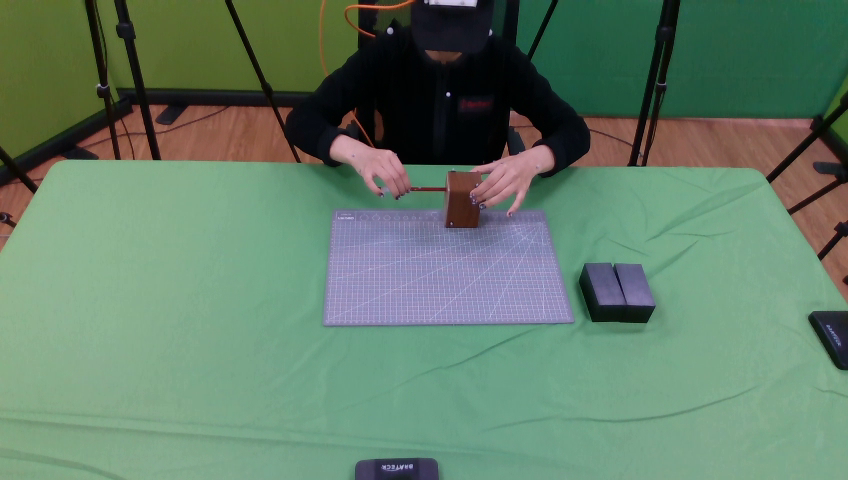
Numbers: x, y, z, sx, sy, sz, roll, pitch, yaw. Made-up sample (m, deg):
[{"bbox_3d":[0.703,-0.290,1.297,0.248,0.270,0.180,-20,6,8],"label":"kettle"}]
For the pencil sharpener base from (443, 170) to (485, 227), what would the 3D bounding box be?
[{"bbox_3d":[0.080,-0.082,1.220,0.077,0.107,0.061,1,46,-4],"label":"pencil sharpener base"}]

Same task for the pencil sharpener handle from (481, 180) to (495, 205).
[{"bbox_3d":[0.131,-0.093,1.217,0.031,0.068,0.036,1,58,-4],"label":"pencil sharpener handle"}]

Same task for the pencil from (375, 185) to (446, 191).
[{"bbox_3d":[0.001,-0.101,1.197,0.194,0.012,0.012,0,46,-4],"label":"pencil"}]
